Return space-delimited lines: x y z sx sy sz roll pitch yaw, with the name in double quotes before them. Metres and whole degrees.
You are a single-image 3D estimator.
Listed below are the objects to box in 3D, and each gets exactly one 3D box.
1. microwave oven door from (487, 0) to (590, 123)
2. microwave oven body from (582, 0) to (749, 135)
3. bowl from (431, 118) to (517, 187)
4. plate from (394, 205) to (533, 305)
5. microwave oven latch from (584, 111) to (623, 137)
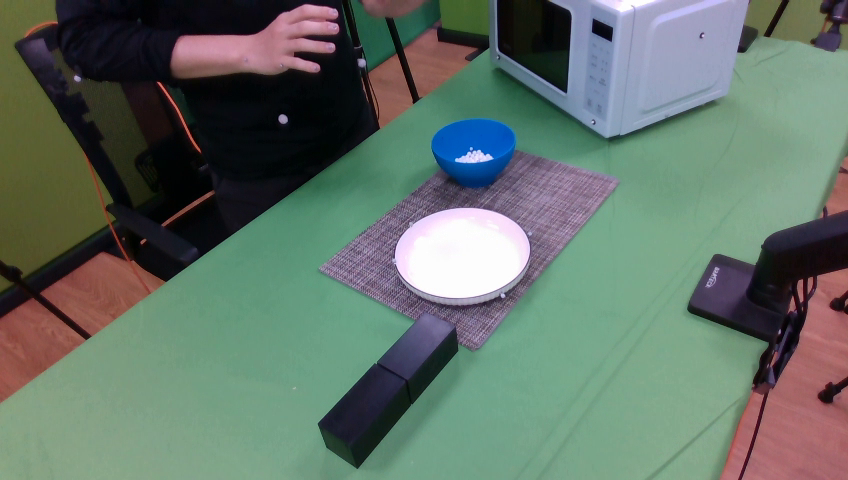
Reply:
"microwave oven door" 0.232 -0.420 1.231 0.039 0.245 0.352 -22 43 -16
"microwave oven body" 0.382 -0.444 1.246 0.327 0.261 0.437 -22 42 -16
"bowl" 0.090 -0.147 1.080 0.151 0.077 0.150 -4 40 4
"plate" 0.059 0.025 0.915 0.207 0.039 0.206 -4 41 4
"microwave oven latch" 0.337 -0.222 1.142 0.030 0.029 0.078 -21 42 -14
